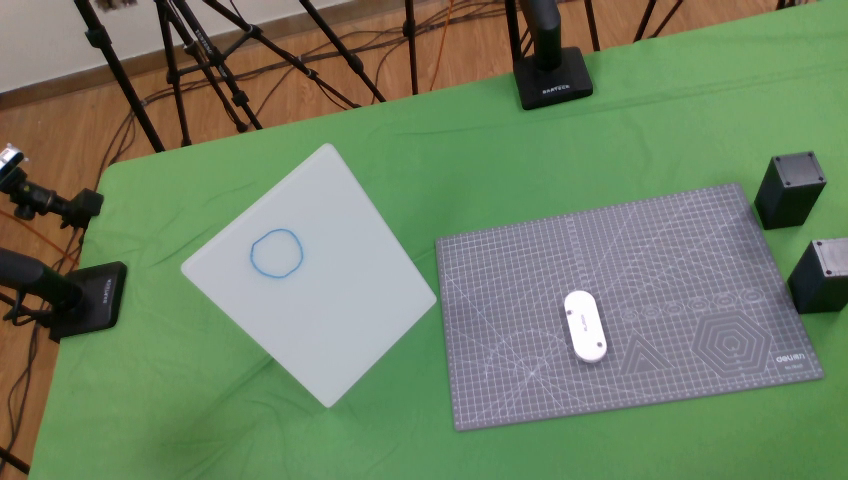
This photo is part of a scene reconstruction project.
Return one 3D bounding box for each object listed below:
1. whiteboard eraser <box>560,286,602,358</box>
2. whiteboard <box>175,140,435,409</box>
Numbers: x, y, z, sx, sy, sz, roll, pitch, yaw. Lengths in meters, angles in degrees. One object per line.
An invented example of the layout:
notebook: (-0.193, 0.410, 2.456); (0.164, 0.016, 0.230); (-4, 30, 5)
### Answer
whiteboard eraser: (0.208, 0.107, 0.804); (0.041, 0.019, 0.100); (-11, 58, 7)
whiteboard: (-0.162, 0.036, 0.809); (0.217, 0.309, 0.142); (-44, 40, -13)
